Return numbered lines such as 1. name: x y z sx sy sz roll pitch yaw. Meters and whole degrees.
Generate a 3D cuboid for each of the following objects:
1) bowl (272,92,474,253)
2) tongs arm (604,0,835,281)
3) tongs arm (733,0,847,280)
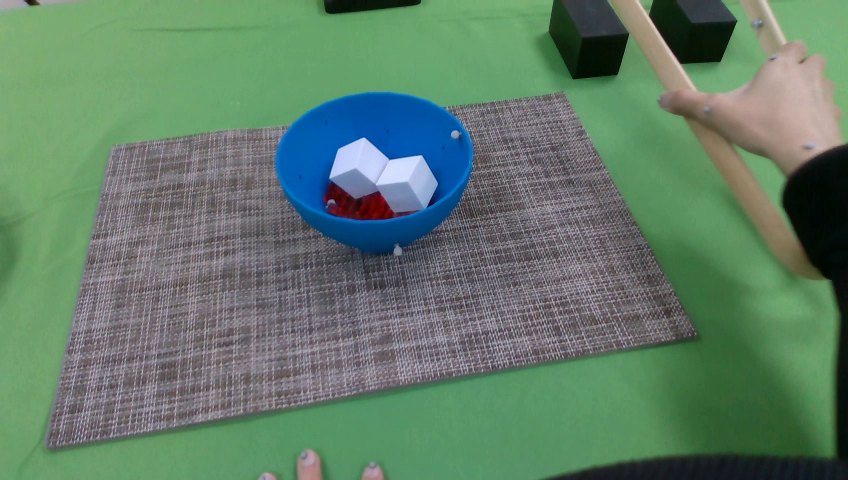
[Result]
1. bowl: -0.038 -0.042 0.486 0.151 0.077 0.150 0 49 0
2. tongs arm: 0.200 -0.137 0.489 0.028 0.028 0.384 -18 71 -15
3. tongs arm: 0.267 -0.153 0.498 0.051 0.026 0.382 -10 70 -9
